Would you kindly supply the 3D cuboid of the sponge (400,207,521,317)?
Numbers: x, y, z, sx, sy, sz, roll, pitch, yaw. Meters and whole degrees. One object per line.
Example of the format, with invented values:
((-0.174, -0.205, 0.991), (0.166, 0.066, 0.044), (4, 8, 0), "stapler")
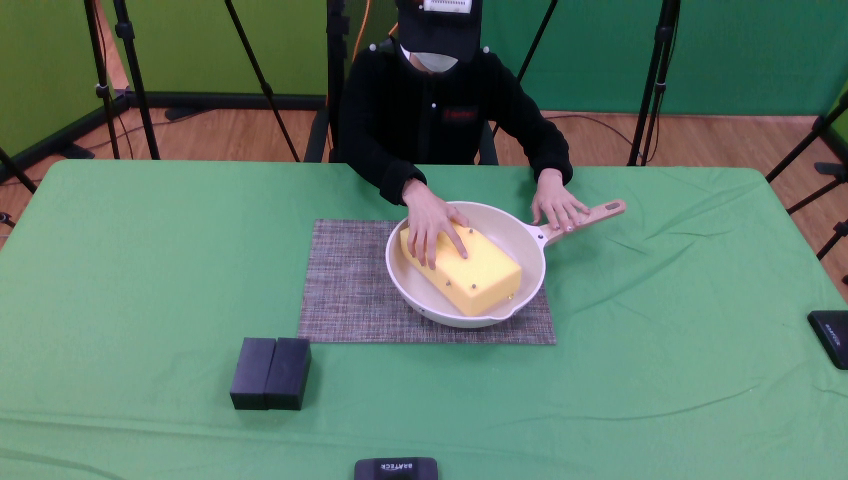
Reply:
((0.062, 0.037, 1.109), (0.118, 0.061, 0.205), (-29, 51, -26), "sponge")

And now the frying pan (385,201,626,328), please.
((0.169, 0.013, 1.137), (0.488, 0.103, 0.304), (-19, 51, -11), "frying pan")
